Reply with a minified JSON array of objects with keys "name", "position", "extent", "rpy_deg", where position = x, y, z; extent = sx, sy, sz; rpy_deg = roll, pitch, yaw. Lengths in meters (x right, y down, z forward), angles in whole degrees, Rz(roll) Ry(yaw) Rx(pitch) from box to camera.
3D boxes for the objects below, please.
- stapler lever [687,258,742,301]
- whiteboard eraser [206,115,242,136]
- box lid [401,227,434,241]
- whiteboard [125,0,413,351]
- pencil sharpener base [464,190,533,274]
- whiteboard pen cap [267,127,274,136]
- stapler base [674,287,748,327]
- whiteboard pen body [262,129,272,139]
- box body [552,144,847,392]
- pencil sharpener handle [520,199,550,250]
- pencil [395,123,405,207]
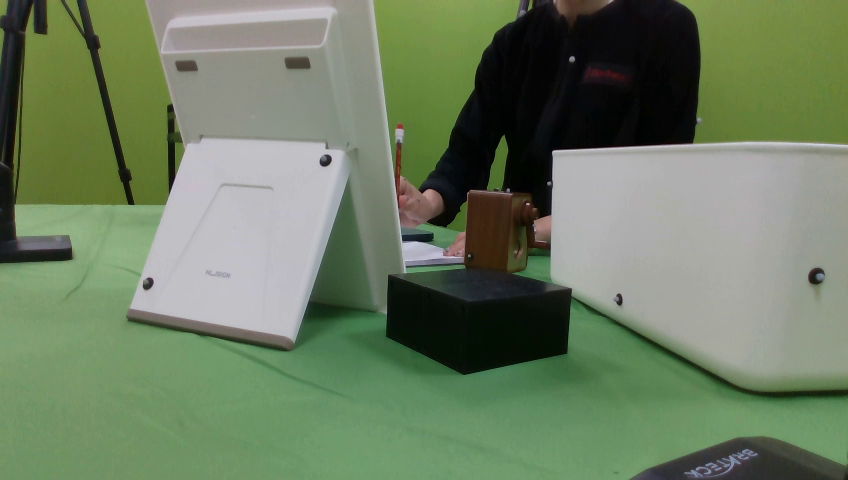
[{"name":"stapler lever","position":[0.283,0.035,0.585],"extent":[0.026,0.040,0.119],"rpy_deg":[10,8,37]},{"name":"whiteboard eraser","position":[-0.438,-0.249,1.320],"extent":[0.056,0.042,0.112],"rpy_deg":[-3,9,-30]},{"name":"box lid","position":[-0.196,-0.015,1.105],"extent":[0.373,0.015,0.262],"rpy_deg":[-1,7,-32]},{"name":"whiteboard","position":[-0.151,-0.050,0.471],"extent":[0.216,0.305,0.144],"rpy_deg":[6,27,24]},{"name":"pencil sharpener base","position":[0.102,-0.012,0.813],"extent":[0.076,0.107,0.061],"rpy_deg":[8,9,36]},{"name":"whiteboard pen cap","position":[-0.340,-0.239,1.337],"extent":[0.018,0.018,0.033],"rpy_deg":[1,-1,-14]},{"name":"stapler base","position":[0.281,0.061,0.586],"extent":[0.041,0.024,0.131],"rpy_deg":[10,8,37]},{"name":"whiteboard pen body","position":[-0.361,-0.245,1.393],"extent":[0.017,0.017,0.140],"rpy_deg":[0,5,-20]},{"name":"box body","position":[0.290,0.002,0.549],"extent":[0.255,0.160,0.363],"rpy_deg":[2,7,-10]},{"name":"pencil sharpener handle","position":[0.147,-0.019,0.785],"extent":[0.030,0.068,0.036],"rpy_deg":[8,25,36]},{"name":"pencil","position":[-0.037,-0.071,0.859],"extent":[0.012,0.193,0.012],"rpy_deg":[3,-5,1]}]
